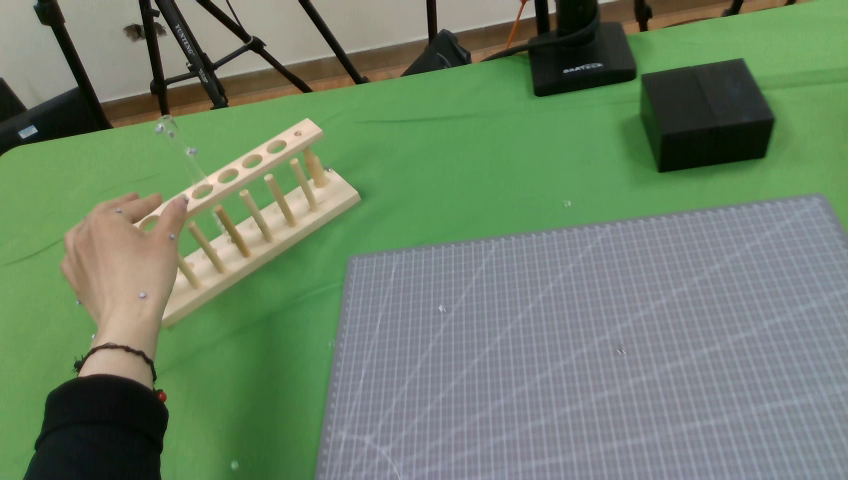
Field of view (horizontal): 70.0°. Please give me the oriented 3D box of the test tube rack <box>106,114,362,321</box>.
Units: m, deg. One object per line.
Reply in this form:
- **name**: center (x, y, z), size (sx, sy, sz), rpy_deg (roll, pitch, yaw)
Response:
- **test tube rack**: center (-0.193, -0.027, 0.641), size (0.242, 0.086, 0.066), rpy_deg (-35, 49, -15)

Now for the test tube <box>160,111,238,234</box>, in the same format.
- **test tube**: center (-0.223, -0.064, 0.614), size (0.017, 0.152, 0.017), rpy_deg (-9, 42, 9)
